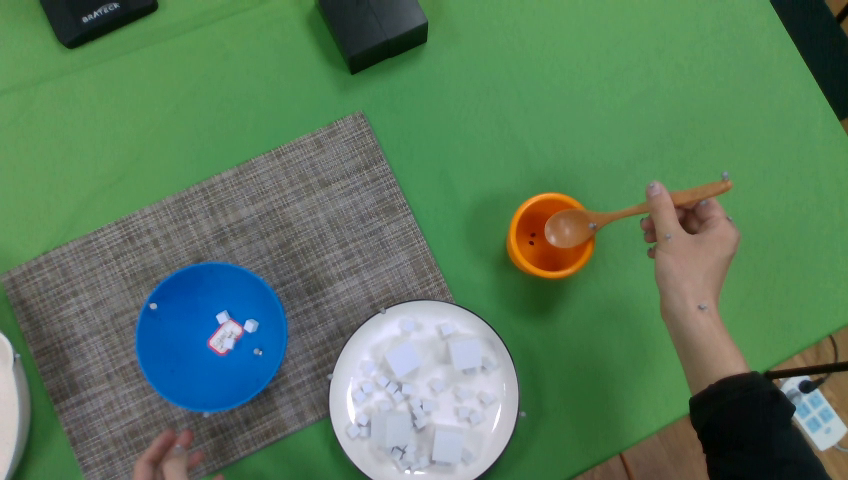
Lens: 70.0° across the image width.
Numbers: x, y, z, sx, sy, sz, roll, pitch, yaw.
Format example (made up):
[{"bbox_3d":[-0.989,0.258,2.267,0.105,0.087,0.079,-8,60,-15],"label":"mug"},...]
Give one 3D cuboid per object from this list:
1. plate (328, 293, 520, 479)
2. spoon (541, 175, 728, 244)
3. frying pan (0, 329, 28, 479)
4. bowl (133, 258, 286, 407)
[{"bbox_3d":[0.000,0.162,0.669,0.208,0.039,0.207,0,86,-3],"label":"plate"},{"bbox_3d":[0.198,-0.030,0.595,0.022,0.193,0.041,-12,87,-43],"label":"spoon"},{"bbox_3d":[-0.503,0.268,0.606,0.307,0.103,0.485,-30,77,-4],"label":"frying pan"},{"bbox_3d":[-0.216,0.097,0.645,0.151,0.077,0.151,0,84,-2],"label":"bowl"}]
